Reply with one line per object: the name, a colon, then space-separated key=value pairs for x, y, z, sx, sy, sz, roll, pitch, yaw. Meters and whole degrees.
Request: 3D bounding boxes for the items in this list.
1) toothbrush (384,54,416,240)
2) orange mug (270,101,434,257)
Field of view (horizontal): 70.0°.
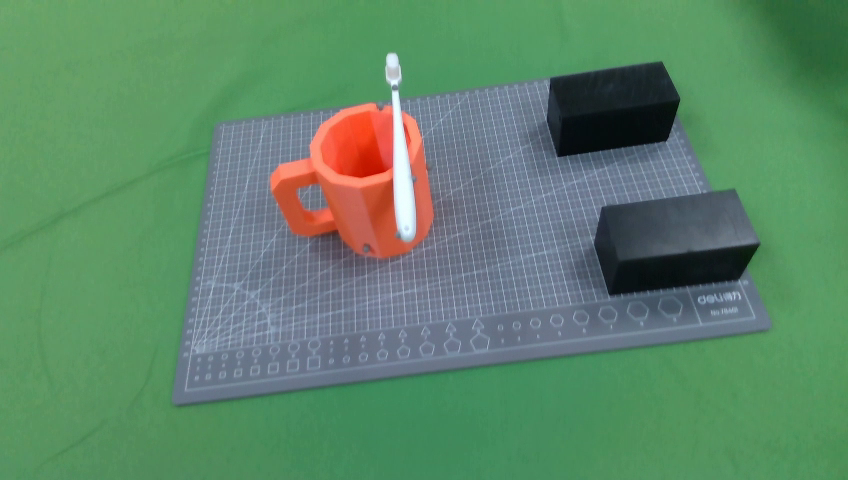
toothbrush: x=-0.018 y=-0.076 z=0.447 sx=0.014 sy=0.017 sz=0.180 roll=-1 pitch=55 yaw=-8
orange mug: x=-0.057 y=-0.044 z=0.494 sx=0.126 sy=0.102 sz=0.082 roll=-12 pitch=55 yaw=-6
